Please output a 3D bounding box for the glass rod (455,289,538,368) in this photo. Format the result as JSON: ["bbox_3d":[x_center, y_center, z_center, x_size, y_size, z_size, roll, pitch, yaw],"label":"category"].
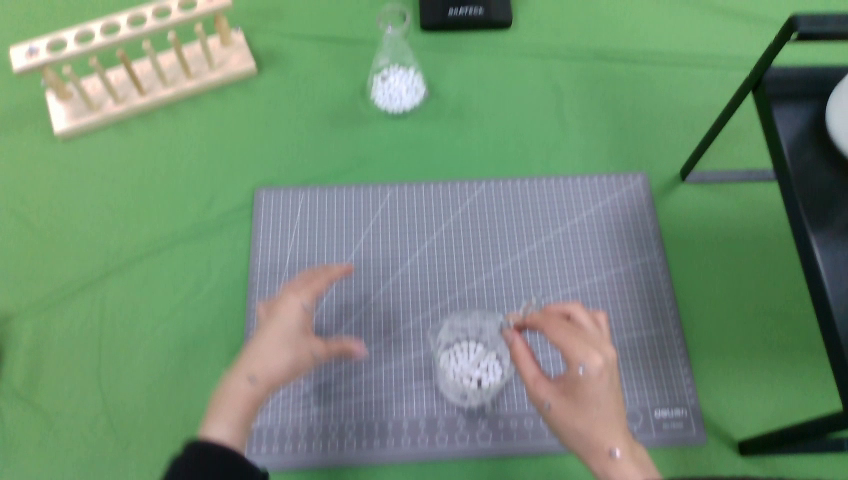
[{"bbox_3d":[0.055,0.079,0.510,0.008,0.200,0.008,6,63,-11],"label":"glass rod"}]

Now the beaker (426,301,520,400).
[{"bbox_3d":[0.041,0.106,0.564,0.084,0.101,0.073,19,67,9],"label":"beaker"}]

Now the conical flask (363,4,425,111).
[{"bbox_3d":[-0.037,-0.211,0.692,0.075,0.123,0.075,0,66,0],"label":"conical flask"}]

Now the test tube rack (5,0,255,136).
[{"bbox_3d":[-0.333,-0.211,0.706,0.242,0.086,0.066,-22,68,-10],"label":"test tube rack"}]

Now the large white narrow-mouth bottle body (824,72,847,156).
[{"bbox_3d":[0.387,-0.135,0.431,0.102,0.196,0.101,0,65,1],"label":"large white narrow-mouth bottle body"}]
